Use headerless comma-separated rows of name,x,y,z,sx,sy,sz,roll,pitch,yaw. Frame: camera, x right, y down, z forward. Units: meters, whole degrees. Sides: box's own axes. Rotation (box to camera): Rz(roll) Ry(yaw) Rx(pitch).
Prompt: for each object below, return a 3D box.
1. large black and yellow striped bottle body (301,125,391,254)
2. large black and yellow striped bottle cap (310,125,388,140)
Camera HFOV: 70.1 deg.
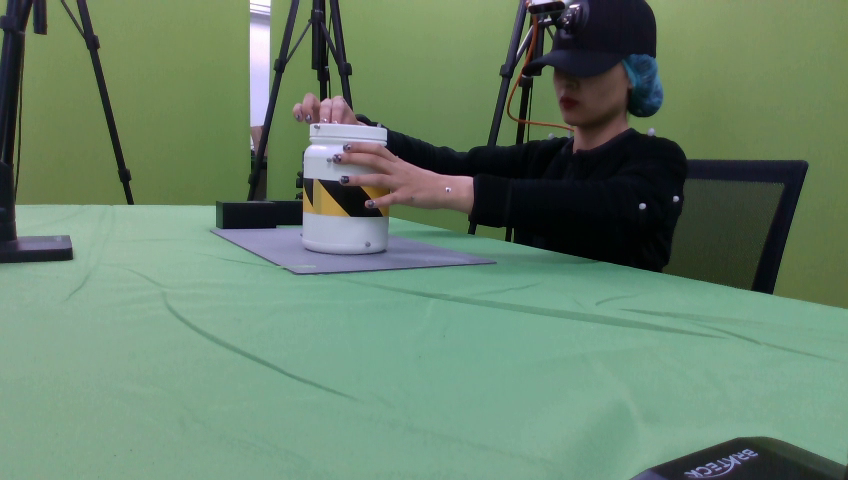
large black and yellow striped bottle body,-0.116,-0.077,0.912,0.131,0.184,0.130,3,7,0
large black and yellow striped bottle cap,-0.112,-0.160,0.900,0.115,0.019,0.115,1,8,0
